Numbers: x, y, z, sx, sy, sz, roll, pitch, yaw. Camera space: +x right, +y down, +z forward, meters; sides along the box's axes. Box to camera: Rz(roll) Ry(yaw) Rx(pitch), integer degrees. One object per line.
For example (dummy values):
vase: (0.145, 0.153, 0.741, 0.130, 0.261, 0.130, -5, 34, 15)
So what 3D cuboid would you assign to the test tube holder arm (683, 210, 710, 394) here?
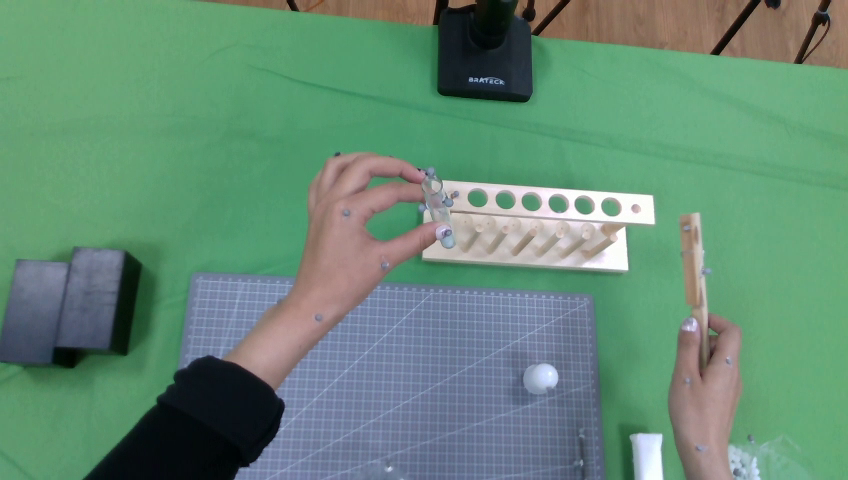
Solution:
test tube holder arm: (0.263, 0.060, 0.587, 0.013, 0.015, 0.178, -8, 93, -32)

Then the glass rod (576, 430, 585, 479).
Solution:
glass rod: (0.165, 0.300, 0.626, 0.008, 0.008, 0.198, 3, 72, -7)

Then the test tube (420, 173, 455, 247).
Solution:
test tube: (0.012, -0.019, 0.481, 0.017, 0.151, 0.017, -2, 74, 6)

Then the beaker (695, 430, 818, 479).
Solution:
beaker: (0.335, 0.238, 0.622, 0.074, 0.100, 0.083, 16, 71, -2)

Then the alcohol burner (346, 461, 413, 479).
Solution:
alcohol burner: (-0.041, 0.245, 0.561, 0.078, 0.119, 0.077, 2, 70, -6)

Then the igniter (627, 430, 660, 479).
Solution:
igniter: (0.231, 0.337, 0.617, 0.057, 0.025, 0.275, 7, 72, -16)

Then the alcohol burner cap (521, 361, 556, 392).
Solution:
alcohol burner cap: (0.126, 0.145, 0.650, 0.034, 0.048, 0.033, 2, 72, -7)

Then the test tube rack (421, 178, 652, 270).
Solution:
test tube rack: (0.122, -0.015, 0.678, 0.243, 0.085, 0.066, 3, 72, -6)

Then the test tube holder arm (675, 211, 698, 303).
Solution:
test tube holder arm: (0.253, 0.016, 0.582, 0.010, 0.015, 0.088, -8, 93, -32)
